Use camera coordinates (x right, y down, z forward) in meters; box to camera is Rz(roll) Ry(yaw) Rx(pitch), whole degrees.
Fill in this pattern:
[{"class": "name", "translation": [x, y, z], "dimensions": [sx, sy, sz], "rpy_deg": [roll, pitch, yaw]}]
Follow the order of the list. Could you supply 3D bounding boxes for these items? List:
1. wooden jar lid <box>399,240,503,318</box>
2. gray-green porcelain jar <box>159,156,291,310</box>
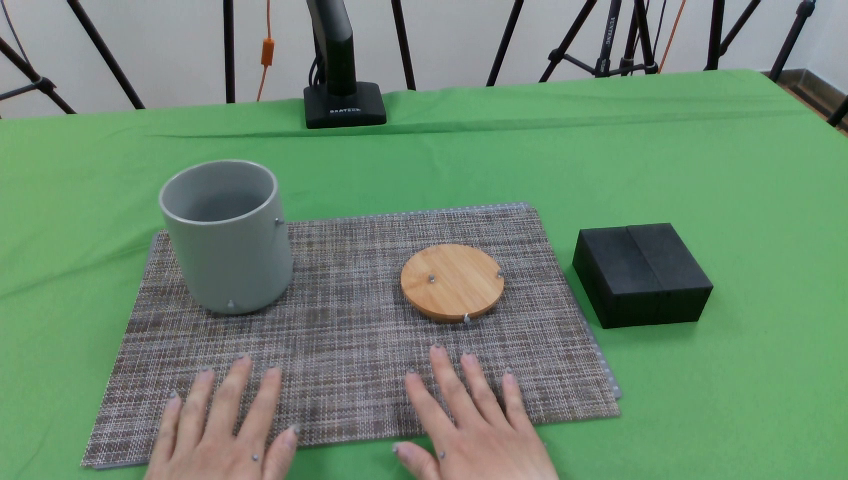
[{"class": "wooden jar lid", "translation": [0.028, 0.041, 0.635], "dimensions": [0.108, 0.021, 0.107], "rpy_deg": [2, 41, -1]}, {"class": "gray-green porcelain jar", "translation": [-0.189, -0.003, 0.597], "dimensions": [0.106, 0.127, 0.105], "rpy_deg": [1, 41, 0]}]
